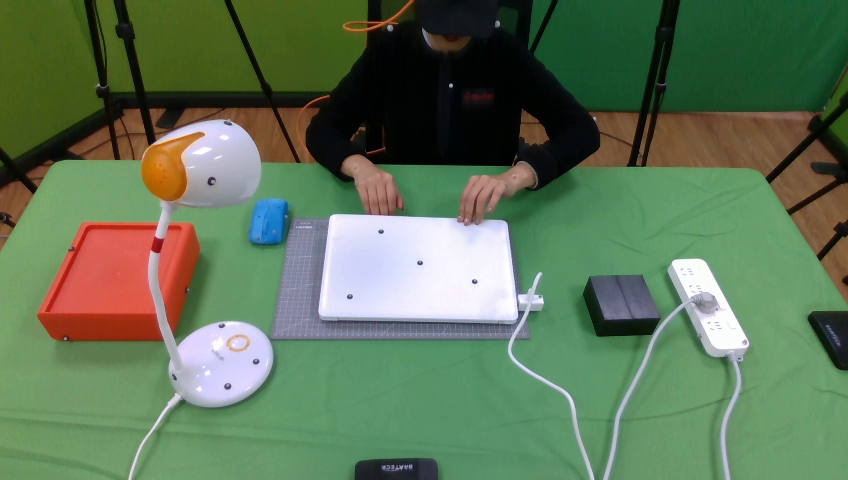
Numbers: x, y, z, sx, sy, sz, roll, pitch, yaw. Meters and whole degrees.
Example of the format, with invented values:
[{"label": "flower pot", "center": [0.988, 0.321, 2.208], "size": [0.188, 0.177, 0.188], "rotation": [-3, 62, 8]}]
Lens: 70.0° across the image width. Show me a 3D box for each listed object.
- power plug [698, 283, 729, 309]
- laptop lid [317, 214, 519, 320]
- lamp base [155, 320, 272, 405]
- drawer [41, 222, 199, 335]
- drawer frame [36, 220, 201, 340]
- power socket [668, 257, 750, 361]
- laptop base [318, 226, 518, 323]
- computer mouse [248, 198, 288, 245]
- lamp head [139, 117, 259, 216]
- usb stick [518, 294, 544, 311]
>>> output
[{"label": "power plug", "center": [0.510, 0.096, 1.060], "size": [0.052, 0.073, 0.035], "rotation": [-20, 61, 8]}, {"label": "laptop lid", "center": [-0.009, 0.044, 1.118], "size": [0.357, 0.013, 0.240], "rotation": [3, 51, -2]}, {"label": "lamp base", "center": [-0.330, 0.149, 0.918], "size": [0.160, 0.181, 0.179], "rotation": [26, 52, 20]}, {"label": "drawer", "center": [-0.519, 0.064, 1.057], "size": [0.195, 0.073, 0.210], "rotation": [1, 46, -4]}, {"label": "drawer frame", "center": [-0.517, 0.065, 1.055], "size": [0.202, 0.083, 0.212], "rotation": [0, 47, -5]}, {"label": "power socket", "center": [0.517, 0.117, 1.109], "size": [0.072, 0.033, 0.225], "rotation": [-3, 47, -4]}, {"label": "laptop base", "center": [-0.011, 0.063, 1.137], "size": [0.354, 0.023, 0.234], "rotation": [1, 43, -3]}, {"label": "computer mouse", "center": [-0.309, -0.041, 1.205], "size": [0.063, 0.041, 0.116], "rotation": [3, 50, -3]}, {"label": "lamp head", "center": [-0.281, -0.086, 0.734], "size": [0.112, 0.113, 0.123], "rotation": [21, 25, 16]}, {"label": "usb stick", "center": [0.184, 0.111, 1.085], "size": [0.059, 0.027, 0.021], "rotation": [-1, 48, -3]}]
